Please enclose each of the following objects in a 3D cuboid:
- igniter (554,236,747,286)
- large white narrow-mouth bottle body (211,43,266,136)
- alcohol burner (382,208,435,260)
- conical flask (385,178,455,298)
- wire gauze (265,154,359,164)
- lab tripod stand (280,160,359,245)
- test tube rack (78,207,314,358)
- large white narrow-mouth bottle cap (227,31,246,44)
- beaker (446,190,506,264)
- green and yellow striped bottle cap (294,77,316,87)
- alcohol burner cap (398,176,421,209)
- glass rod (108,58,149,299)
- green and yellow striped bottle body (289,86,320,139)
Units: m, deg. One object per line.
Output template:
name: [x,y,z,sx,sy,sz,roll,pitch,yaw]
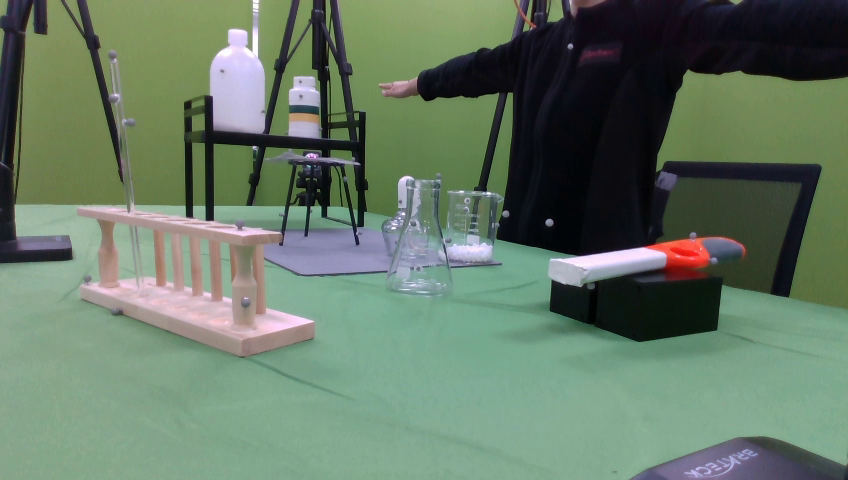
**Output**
igniter: [0.221,0.017,0.558,0.278,0.025,0.057,-5,15,-39]
large white narrow-mouth bottle body: [-0.361,-0.302,1.176,0.102,0.194,0.102,1,8,0]
alcohol burner: [-0.023,-0.032,0.872,0.078,0.119,0.078,1,6,0]
conical flask: [-0.002,-0.004,0.639,0.075,0.122,0.075,2,7,0]
wire gauze: [-0.181,-0.129,0.969,0.126,0.011,0.121,-1,7,-27]
lab tripod stand: [-0.176,-0.062,0.973,0.148,0.131,0.148,1,7,0]
test tube rack: [-0.196,0.023,0.499,0.241,0.085,0.067,8,8,37]
large white narrow-mouth bottle cap: [-0.361,-0.387,1.165,0.038,0.024,0.037,1,7,0]
beaker: [0.071,-0.019,0.855,0.084,0.100,0.074,3,8,-1]
green and yellow striped bottle cap: [-0.247,-0.326,1.251,0.045,0.020,0.045,0,10,0]
alcohol burner cap: [-0.023,-0.068,0.866,0.034,0.048,0.034,-5,8,1]
glass rod: [-0.240,-0.044,0.492,0.008,0.199,0.008,-1,15,0]
green and yellow striped bottle body: [-0.249,-0.272,1.259,0.063,0.119,0.063,2,8,0]
